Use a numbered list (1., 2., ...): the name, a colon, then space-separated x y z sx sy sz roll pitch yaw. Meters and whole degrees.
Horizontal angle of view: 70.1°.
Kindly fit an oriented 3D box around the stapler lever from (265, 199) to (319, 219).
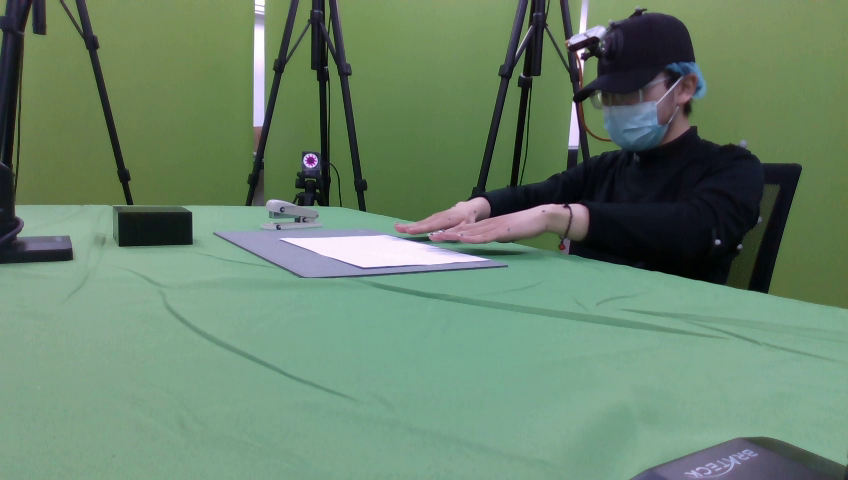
1. stapler lever: -0.262 -0.061 1.204 0.026 0.040 0.119 12 11 38

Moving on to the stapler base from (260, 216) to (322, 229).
1. stapler base: -0.265 -0.037 1.206 0.041 0.024 0.131 12 10 38
